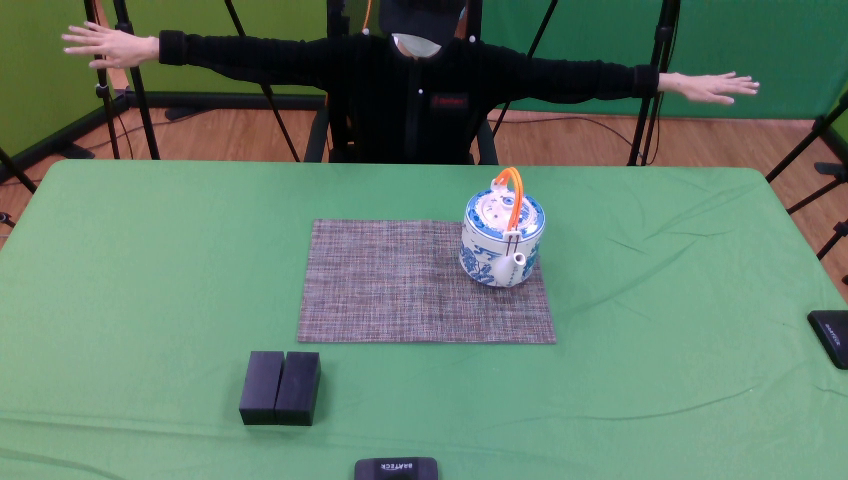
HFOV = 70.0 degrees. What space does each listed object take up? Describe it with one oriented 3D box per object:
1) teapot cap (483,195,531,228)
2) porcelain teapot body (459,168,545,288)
[{"bbox_3d":[0.146,-0.053,1.061,0.085,0.044,0.084,3,45,-3],"label":"teapot cap"},{"bbox_3d":[0.146,-0.006,1.070,0.145,0.226,0.204,-4,46,-8],"label":"porcelain teapot body"}]
